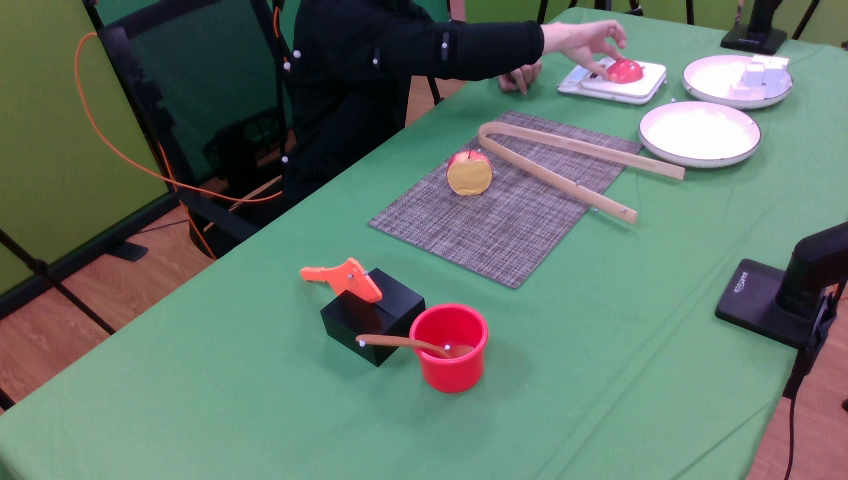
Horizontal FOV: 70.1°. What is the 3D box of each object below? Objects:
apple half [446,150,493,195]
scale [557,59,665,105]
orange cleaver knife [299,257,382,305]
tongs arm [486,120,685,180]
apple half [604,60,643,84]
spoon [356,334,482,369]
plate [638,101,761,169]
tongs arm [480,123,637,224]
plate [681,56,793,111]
[{"bbox_3d":[0.081,-0.123,1.065,0.081,0.075,0.053,-7,36,7],"label":"apple half"},{"bbox_3d":[0.407,-0.348,1.314,0.199,0.032,0.149,19,47,28],"label":"scale"},{"bbox_3d":[-0.124,0.062,0.872,0.012,0.077,0.210,-38,17,-30],"label":"orange cleaver knife"},{"bbox_3d":[0.287,-0.171,1.123,0.384,0.028,0.028,21,52,29],"label":"tongs arm"},{"bbox_3d":[0.423,-0.362,1.281,0.081,0.033,0.081,-2,40,2],"label":"apple half"},{"bbox_3d":[-0.001,0.130,0.731,0.195,0.021,0.041,22,28,-39],"label":"spoon"},{"bbox_3d":[0.500,-0.189,1.111,0.209,0.038,0.208,-4,41,4],"label":"plate"},{"bbox_3d":[0.228,-0.128,1.080,0.051,0.026,0.381,-33,46,-26],"label":"tongs arm"},{"bbox_3d":[0.636,-0.317,1.239,0.207,0.039,0.206,-4,40,4],"label":"plate"}]
